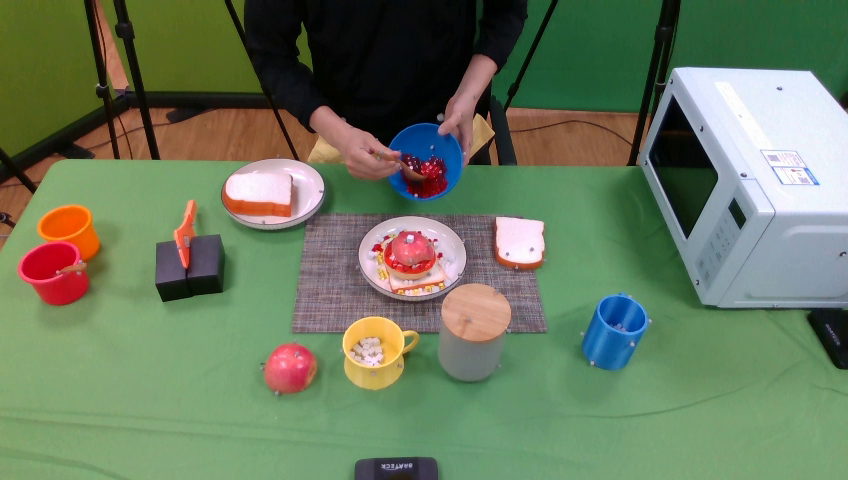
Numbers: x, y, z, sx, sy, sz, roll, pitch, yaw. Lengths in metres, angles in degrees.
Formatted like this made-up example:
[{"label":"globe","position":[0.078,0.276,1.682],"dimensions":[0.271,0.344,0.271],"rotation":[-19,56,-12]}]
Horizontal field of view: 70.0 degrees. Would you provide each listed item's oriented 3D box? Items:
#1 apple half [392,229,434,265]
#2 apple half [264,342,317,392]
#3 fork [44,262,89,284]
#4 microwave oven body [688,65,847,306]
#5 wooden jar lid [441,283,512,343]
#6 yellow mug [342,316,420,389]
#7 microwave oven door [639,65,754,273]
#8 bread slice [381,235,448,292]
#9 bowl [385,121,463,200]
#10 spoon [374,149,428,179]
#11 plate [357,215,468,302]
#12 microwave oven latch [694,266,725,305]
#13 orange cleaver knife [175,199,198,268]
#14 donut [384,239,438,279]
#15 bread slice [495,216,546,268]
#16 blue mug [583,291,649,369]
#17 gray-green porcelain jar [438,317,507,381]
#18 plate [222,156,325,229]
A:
[{"label":"apple half","position":[-0.021,0.005,1.083],"dimensions":[0.081,0.033,0.081],"rotation":[6,49,-7]},{"label":"apple half","position":[-0.214,0.198,0.970],"dimensions":[0.074,0.053,0.080],"rotation":[19,48,10]},{"label":"fork","position":[-0.598,0.054,1.014],"dimensions":[0.207,0.019,0.028],"rotation":[-15,29,45]},{"label":"microwave oven body","position":[0.669,-0.111,1.176],"dimensions":[0.326,0.261,0.439],"rotation":[0,46,-3]},{"label":"wooden jar lid","position":[0.080,0.114,0.931],"dimensions":[0.108,0.021,0.107],"rotation":[1,49,-1]},{"label":"yellow mug","position":[-0.067,0.177,0.991],"dimensions":[0.131,0.064,0.099],"rotation":[-16,50,-19]},{"label":"microwave oven door","position":[0.522,-0.147,1.192],"dimensions":[0.039,0.245,0.353],"rotation":[0,47,-3]},{"label":"bread slice","position":[-0.027,0.040,1.141],"dimensions":[0.107,0.018,0.133],"rotation":[-11,49,-15]},{"label":"bowl","position":[0.007,-0.145,1.164],"dimensions":[0.151,0.077,0.151],"rotation":[-1,83,11]},{"label":"spoon","position":[-0.043,-0.139,1.096],"dimensions":[0.041,0.194,0.021],"rotation":[11,84,25]},{"label":"plate","position":[-0.022,0.037,1.141],"dimensions":[0.208,0.039,0.206],"rotation":[2,46,-2]},{"label":"microwave oven latch","position":[0.523,0.082,1.115],"dimensions":[0.030,0.029,0.078],"rotation":[3,46,0]},{"label":"orange cleaver knife","position":[-0.438,-0.017,1.138],"dimensions":[0.012,0.077,0.210],"rotation":[-14,27,-6]},{"label":"donut","position":[-0.024,0.030,1.110],"dimensions":[0.099,0.048,0.098],"rotation":[3,46,-2]},{"label":"bread slice","position":[0.194,0.002,1.205],"dimensions":[0.105,0.019,0.131],"rotation":[5,45,2]},{"label":"blue mug","position":[0.324,0.142,1.023],"dimensions":[0.082,0.106,0.116],"rotation":[15,47,11]},{"label":"gray-green porcelain jar","position":[0.076,0.158,0.977],"dimensions":[0.106,0.127,0.105],"rotation":[2,46,-2]},{"label":"plate","position":[-0.308,-0.095,1.251],"dimensions":[0.209,0.038,0.208],"rotation":[3,47,-3]}]
